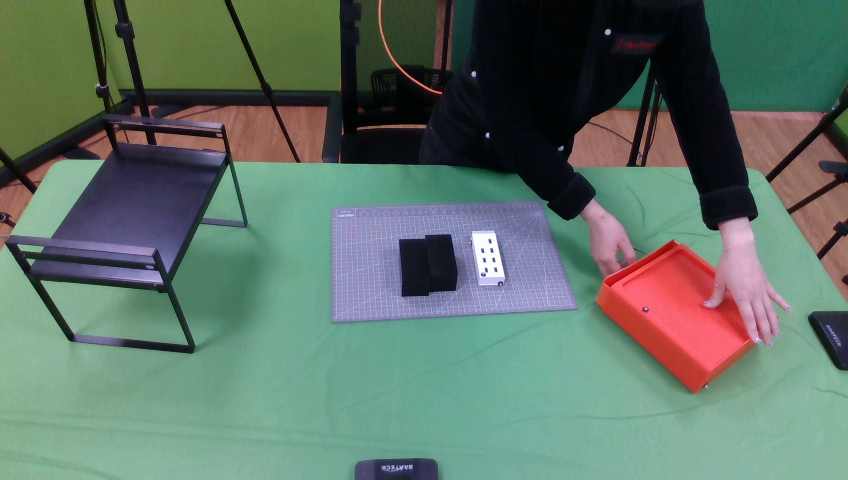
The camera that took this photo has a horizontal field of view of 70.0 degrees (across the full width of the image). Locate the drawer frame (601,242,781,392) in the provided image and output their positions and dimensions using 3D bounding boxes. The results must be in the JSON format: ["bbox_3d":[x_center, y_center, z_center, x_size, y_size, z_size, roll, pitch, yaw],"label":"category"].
[{"bbox_3d":[0.463,0.125,1.064,0.202,0.083,0.212,-26,54,-26],"label":"drawer frame"}]

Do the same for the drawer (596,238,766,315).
[{"bbox_3d":[0.452,0.117,1.078,0.194,0.073,0.210,-25,54,-26],"label":"drawer"}]

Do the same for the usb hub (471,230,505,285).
[{"bbox_3d":[0.122,0.033,1.167,0.049,0.025,0.124,-2,46,-4],"label":"usb hub"}]
